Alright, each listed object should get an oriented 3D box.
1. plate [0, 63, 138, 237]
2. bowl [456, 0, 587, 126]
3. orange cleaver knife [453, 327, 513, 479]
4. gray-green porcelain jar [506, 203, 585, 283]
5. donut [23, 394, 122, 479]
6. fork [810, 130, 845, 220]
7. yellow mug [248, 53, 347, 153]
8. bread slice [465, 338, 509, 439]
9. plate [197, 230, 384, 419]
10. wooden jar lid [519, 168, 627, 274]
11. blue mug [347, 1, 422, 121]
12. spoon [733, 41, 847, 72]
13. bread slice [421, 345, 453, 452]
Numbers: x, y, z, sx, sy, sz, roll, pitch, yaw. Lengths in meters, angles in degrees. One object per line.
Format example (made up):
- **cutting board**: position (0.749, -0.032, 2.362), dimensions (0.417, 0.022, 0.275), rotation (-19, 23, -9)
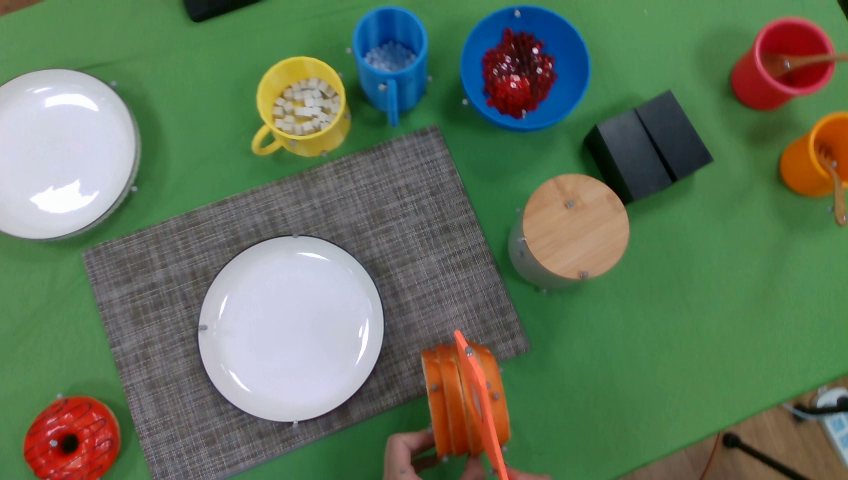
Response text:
- **plate**: position (-0.439, -0.104, 0.714), dimensions (0.208, 0.039, 0.207), rotation (0, 81, -2)
- **bowl**: position (0.110, -0.199, 0.723), dimensions (0.151, 0.077, 0.151), rotation (0, 81, -1)
- **orange cleaver knife**: position (0.059, 0.177, 0.532), dimensions (0.012, 0.076, 0.212), rotation (-18, 105, -8)
- **gray-green porcelain jar**: position (0.148, -0.007, 0.670), dimensions (0.106, 0.127, 0.105), rotation (0, 81, -2)
- **donut**: position (-0.383, 0.218, 0.663), dimensions (0.099, 0.048, 0.098), rotation (1, 80, -4)
- **fork**: position (0.453, -0.077, 0.677), dimensions (0.028, 0.019, 0.206), rotation (40, 38, -2)
- **yellow mug**: position (-0.156, -0.149, 0.714), dimensions (0.131, 0.064, 0.099), rotation (-44, 84, -6)
- **bread slice**: position (0.063, 0.158, 0.637), dimensions (0.019, 0.131, 0.104), rotation (-10, 85, -7)
- **plate**: position (-0.148, 0.094, 0.687), dimensions (0.209, 0.038, 0.208), rotation (0, 81, -1)
- **wooden jar lid**: position (0.148, -0.018, 0.609), dimensions (0.108, 0.021, 0.108), rotation (1, 82, -4)
- **blue mug**: position (-0.043, -0.197, 0.705), dimensions (0.082, 0.106, 0.116), rotation (-2, 81, -1)
- **spoon**: position (0.463, -0.220, 0.701), dimensions (0.192, 0.022, 0.041), rotation (8, 72, 45)
- **bread slice**: position (0.013, 0.164, 0.637), dimensions (0.018, 0.134, 0.106), rotation (-10, 81, -1)
